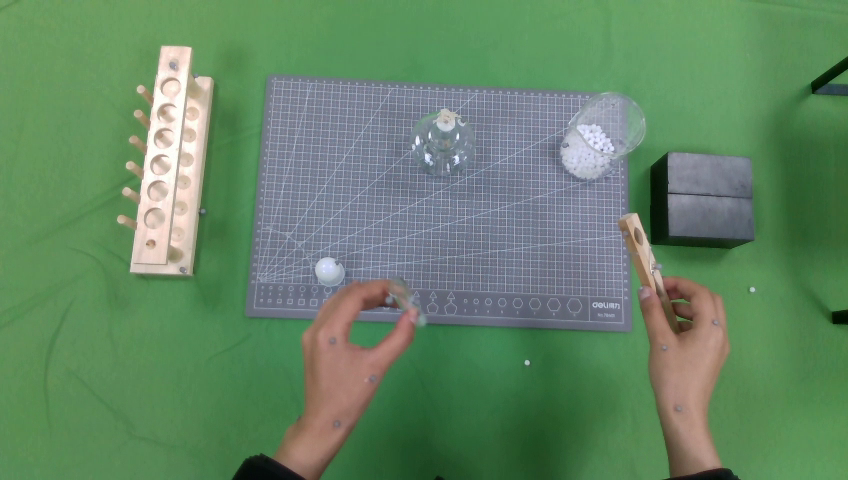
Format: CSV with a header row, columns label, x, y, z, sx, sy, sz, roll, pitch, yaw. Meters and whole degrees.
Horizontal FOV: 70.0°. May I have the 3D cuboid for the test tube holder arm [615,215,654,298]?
label,x,y,z,sx,sy,sz,roll,pitch,yaw
test tube holder arm,0.207,0.017,0.588,0.010,0.015,0.088,-29,103,-11

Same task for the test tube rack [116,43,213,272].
label,x,y,z,sx,sy,sz,roll,pitch,yaw
test tube rack,-0.296,-0.090,0.681,0.067,0.085,0.241,3,79,-2

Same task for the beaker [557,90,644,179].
label,x,y,z,sx,sy,sz,roll,pitch,yaw
beaker,0.197,-0.118,0.703,0.084,0.100,0.073,1,78,-1

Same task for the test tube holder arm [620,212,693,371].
label,x,y,z,sx,sy,sz,roll,pitch,yaw
test tube holder arm,0.232,0.053,0.599,0.013,0.015,0.179,-30,103,-11

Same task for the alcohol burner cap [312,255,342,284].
label,x,y,z,sx,sy,sz,roll,pitch,yaw
alcohol burner cap,-0.112,0.031,0.687,0.034,0.048,0.033,1,79,-4

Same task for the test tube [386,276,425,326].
label,x,y,z,sx,sy,sz,roll,pitch,yaw
test tube,-0.014,0.058,0.541,0.017,0.151,0.017,-2,72,6

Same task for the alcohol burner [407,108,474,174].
label,x,y,z,sx,sy,sz,roll,pitch,yaw
alcohol burner,0.020,-0.119,0.687,0.078,0.119,0.077,0,79,-1
